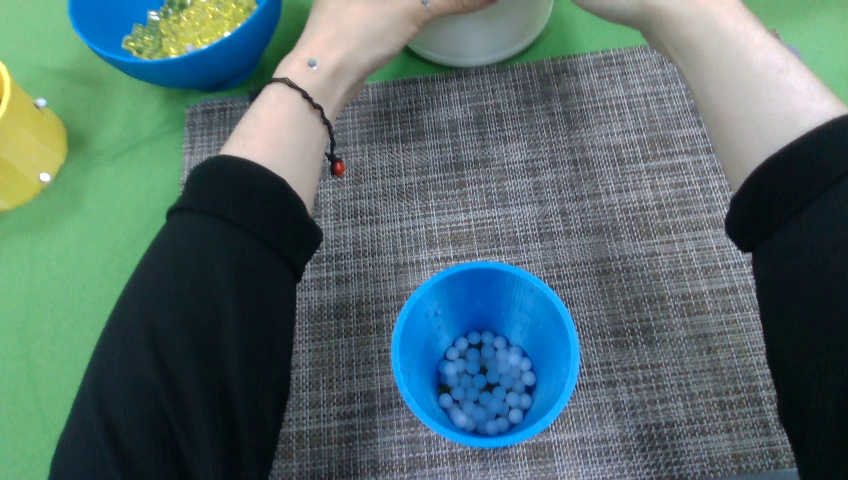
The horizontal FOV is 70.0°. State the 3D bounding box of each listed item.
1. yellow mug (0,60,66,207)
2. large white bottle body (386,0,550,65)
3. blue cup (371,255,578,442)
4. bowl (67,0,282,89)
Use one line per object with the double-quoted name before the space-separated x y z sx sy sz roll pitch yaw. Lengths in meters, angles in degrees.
"yellow mug" -0.327 -0.066 0.427 0.100 0.064 0.130 5 68 7
"large white bottle body" 0.028 -0.226 0.404 0.130 0.186 0.129 -2 66 4
"blue cup" 0.031 0.066 0.316 0.092 0.101 0.092 -2 67 5
"bowl" -0.170 -0.168 0.453 0.151 0.077 0.150 -2 66 4
